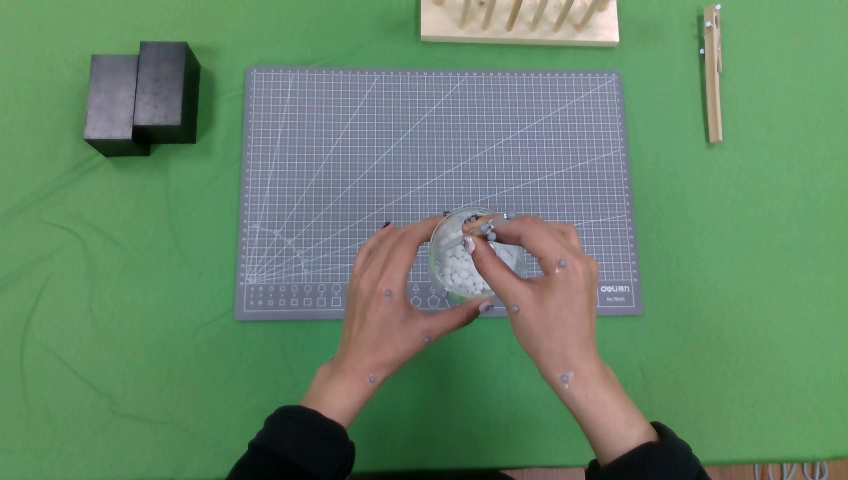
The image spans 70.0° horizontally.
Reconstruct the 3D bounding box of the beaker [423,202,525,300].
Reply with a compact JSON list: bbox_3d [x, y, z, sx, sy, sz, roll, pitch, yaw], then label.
[{"bbox_3d":[0.040,0.015,0.526,0.084,0.100,0.074,18,81,1],"label":"beaker"}]

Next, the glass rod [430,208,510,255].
[{"bbox_3d":[0.029,-0.003,0.470,0.008,0.199,0.008,2,81,-12],"label":"glass rod"}]

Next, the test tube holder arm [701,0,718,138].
[{"bbox_3d":[0.349,-0.210,0.741,0.013,0.015,0.177,12,76,-31],"label":"test tube holder arm"}]

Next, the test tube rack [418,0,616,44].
[{"bbox_3d":[0.116,-0.287,0.712,0.242,0.085,0.066,1,77,-3],"label":"test tube rack"}]

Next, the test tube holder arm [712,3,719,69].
[{"bbox_3d":[0.358,-0.252,0.753,0.010,0.015,0.087,13,75,-30],"label":"test tube holder arm"}]
